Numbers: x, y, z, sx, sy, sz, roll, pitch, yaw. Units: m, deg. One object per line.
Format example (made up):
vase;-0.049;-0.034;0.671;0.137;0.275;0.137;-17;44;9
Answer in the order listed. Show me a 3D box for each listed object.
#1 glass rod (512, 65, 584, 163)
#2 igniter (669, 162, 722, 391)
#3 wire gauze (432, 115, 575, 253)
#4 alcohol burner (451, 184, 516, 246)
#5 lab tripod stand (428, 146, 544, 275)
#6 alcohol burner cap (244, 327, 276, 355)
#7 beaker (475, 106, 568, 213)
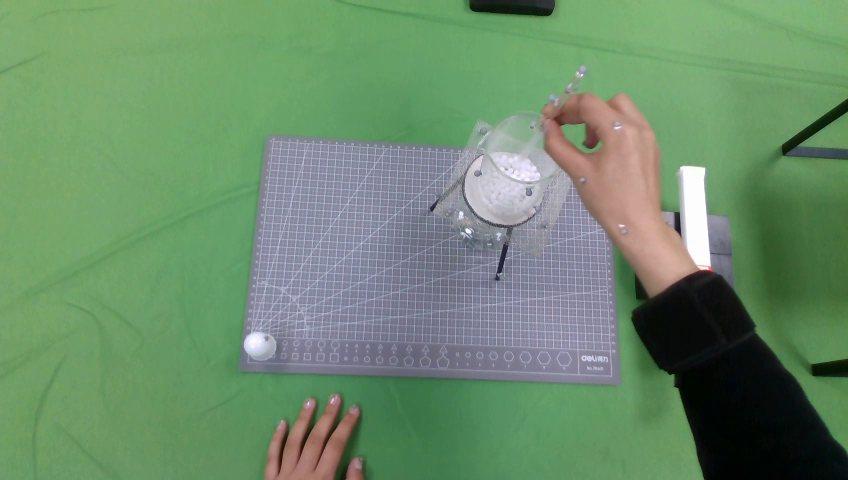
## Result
glass rod;0.105;-0.105;0.540;0.008;0.200;0.008;1;78;-5
igniter;0.316;0.038;0.712;0.057;0.025;0.275;5;73;0
wire gauze;0.088;-0.061;0.643;0.121;0.011;0.124;25;70;0
alcohol burner;0.072;-0.034;0.712;0.078;0.119;0.077;1;76;-3
lab tripod stand;0.081;-0.046;0.706;0.148;0.132;0.147;1;72;-4
alcohol burner cap;-0.189;0.113;0.688;0.034;0.048;0.033;1;74;-5
beaker;0.088;-0.074;0.596;0.084;0.101;0.073;3;72;-3
